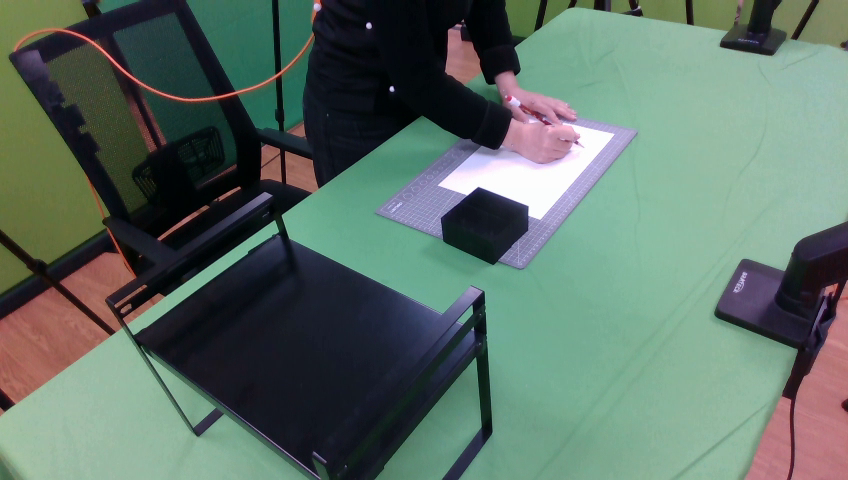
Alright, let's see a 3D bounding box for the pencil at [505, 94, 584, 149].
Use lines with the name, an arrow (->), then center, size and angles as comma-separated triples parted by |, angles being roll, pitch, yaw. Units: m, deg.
pencil -> 0.223, -0.213, 1.101 | 0.195, 0.012, 0.012 | 27, 33, -25
